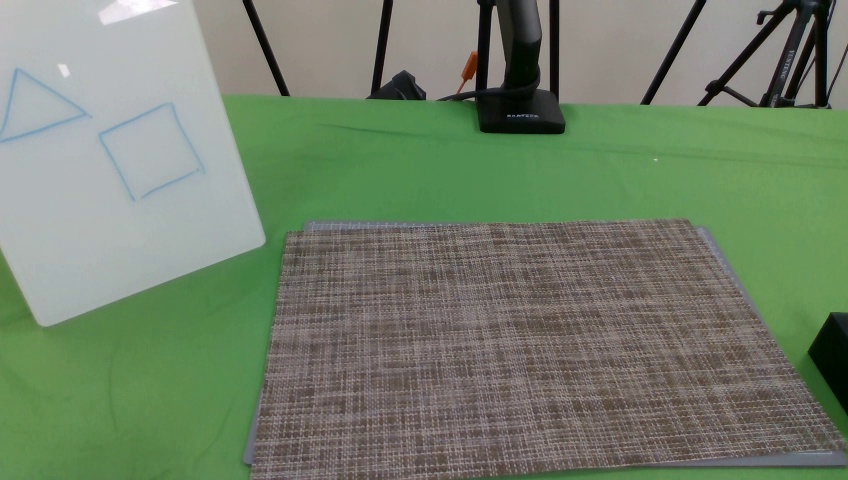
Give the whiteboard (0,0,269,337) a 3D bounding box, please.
[{"bbox_3d":[-0.313,-0.105,0.583,0.217,0.307,0.142,-23,25,-28],"label":"whiteboard"}]
